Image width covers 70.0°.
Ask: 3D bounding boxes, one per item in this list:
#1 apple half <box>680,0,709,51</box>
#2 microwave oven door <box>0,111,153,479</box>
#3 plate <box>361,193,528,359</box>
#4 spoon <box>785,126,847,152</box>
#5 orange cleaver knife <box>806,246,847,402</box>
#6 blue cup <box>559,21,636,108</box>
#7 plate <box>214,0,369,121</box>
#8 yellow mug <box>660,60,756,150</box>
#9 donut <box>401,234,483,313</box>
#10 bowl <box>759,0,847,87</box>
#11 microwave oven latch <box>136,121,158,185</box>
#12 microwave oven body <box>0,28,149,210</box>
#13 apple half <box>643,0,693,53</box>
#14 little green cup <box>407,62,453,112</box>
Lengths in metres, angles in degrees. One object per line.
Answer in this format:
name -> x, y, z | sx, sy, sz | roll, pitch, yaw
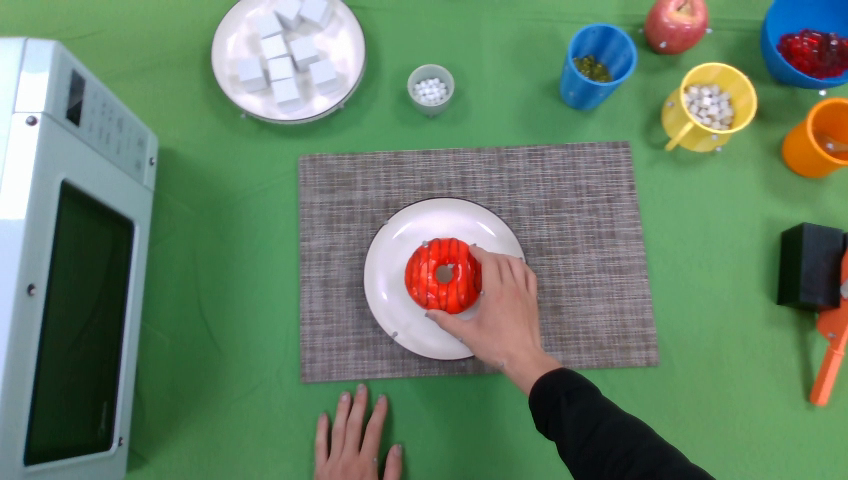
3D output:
apple half -> 0.369, -0.298, 0.829 | 0.033, 0.081, 0.081 | 3, 77, 4
microwave oven door -> -0.365, 0.079, 0.631 | 0.039, 0.245, 0.354 | 0, 77, 0
plate -> 0.025, 0.045, 0.764 | 0.209, 0.038, 0.208 | 0, 78, -1
spoon -> 0.548, -0.111, 0.753 | 0.041, 0.192, 0.022 | -44, 125, -9
orange cleaver knife -> 0.502, 0.095, 0.740 | 0.012, 0.077, 0.212 | 12, 107, 4
blue cup -> 0.219, -0.222, 0.797 | 0.093, 0.100, 0.092 | 0, 78, -1
plate -> -0.178, -0.256, 0.831 | 0.208, 0.039, 0.206 | 0, 77, -1
yellow mug -> 0.365, -0.168, 0.805 | 0.131, 0.064, 0.099 | -44, 81, -8
donut -> 0.021, 0.040, 0.731 | 0.099, 0.048, 0.098 | 0, 75, -1
bowl -> 0.520, -0.267, 0.823 | 0.151, 0.077, 0.150 | 0, 78, 0
microwave oven latch -> -0.362, -0.112, 0.777 | 0.030, 0.029, 0.079 | 2, 78, -1
microwave oven body -> -0.511, 0.038, 0.643 | 0.326, 0.261, 0.439 | 0, 78, -1
apple half -> 0.330, -0.300, 0.831 | 0.053, 0.075, 0.080 | 2, 80, 3
little green cup -> 0.009, -0.206, 0.823 | 0.061, 0.039, 0.061 | 0, 77, 0
